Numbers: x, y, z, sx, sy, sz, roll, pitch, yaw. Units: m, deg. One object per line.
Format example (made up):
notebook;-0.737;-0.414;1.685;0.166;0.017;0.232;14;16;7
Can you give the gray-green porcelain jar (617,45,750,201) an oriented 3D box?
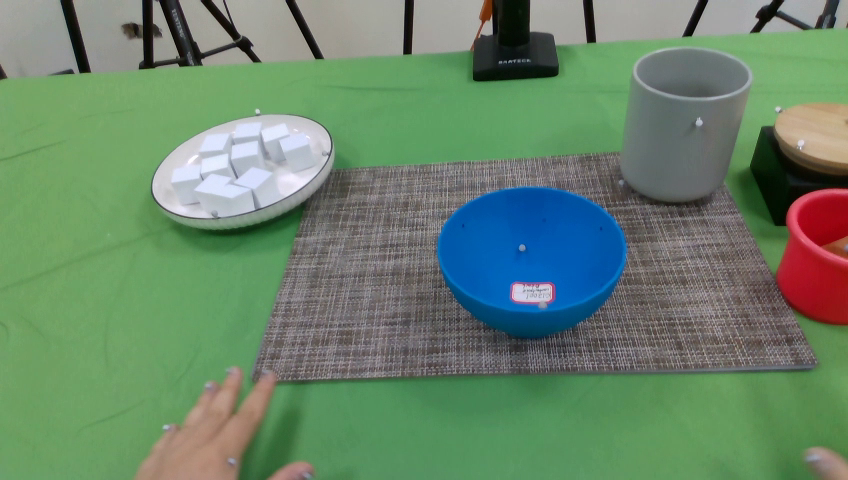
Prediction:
gray-green porcelain jar;0.251;-0.111;0.602;0.106;0.128;0.105;-4;43;4

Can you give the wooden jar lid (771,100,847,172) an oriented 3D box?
wooden jar lid;0.390;-0.099;0.578;0.108;0.021;0.107;-5;42;5

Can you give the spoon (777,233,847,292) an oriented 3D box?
spoon;0.371;-0.021;0.478;0.022;0.194;0.041;31;29;-26

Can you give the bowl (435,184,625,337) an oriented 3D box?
bowl;0.087;0.028;0.509;0.151;0.077;0.150;-4;42;4

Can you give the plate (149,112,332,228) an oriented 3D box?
plate;-0.207;-0.080;0.703;0.209;0.038;0.207;-5;42;5
